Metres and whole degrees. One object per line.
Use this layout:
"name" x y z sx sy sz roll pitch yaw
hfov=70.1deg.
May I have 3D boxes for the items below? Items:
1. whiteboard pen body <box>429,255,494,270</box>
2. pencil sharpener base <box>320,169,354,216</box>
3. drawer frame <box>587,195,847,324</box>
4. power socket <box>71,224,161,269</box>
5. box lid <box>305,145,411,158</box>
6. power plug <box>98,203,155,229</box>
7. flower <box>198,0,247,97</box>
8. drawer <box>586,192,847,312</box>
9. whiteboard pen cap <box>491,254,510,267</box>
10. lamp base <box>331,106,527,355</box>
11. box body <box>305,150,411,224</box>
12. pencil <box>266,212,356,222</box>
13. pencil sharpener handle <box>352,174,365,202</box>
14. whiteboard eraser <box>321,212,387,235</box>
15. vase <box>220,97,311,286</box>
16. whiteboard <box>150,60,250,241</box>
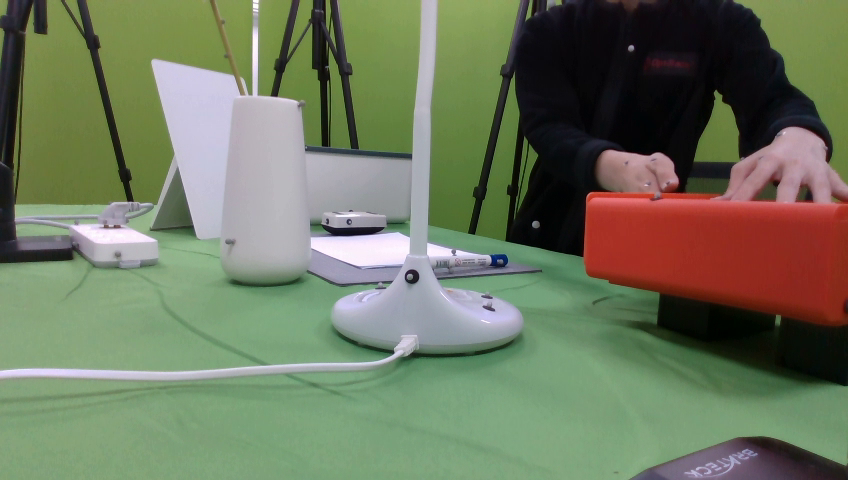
"whiteboard pen body" 0.053 0.028 0.777 0.141 0.017 0.017 -1 8 -39
"pencil sharpener base" -0.207 -0.113 1.438 0.077 0.107 0.061 2 6 -11
"drawer frame" 0.285 0.004 0.509 0.203 0.082 0.212 -1 6 -30
"power socket" -0.408 0.004 0.793 0.072 0.032 0.225 -2 8 -38
"box lid" -0.228 -0.200 1.361 0.373 0.015 0.262 -1 8 -33
"power plug" -0.416 -0.026 0.848 0.073 0.052 0.035 1 8 -28
"flower" -0.187 -0.133 0.648 0.038 0.362 0.044 -1 21 42
"drawer" 0.282 0.001 0.513 0.195 0.073 0.210 -1 8 -29
"whiteboard pen cap" 0.099 0.028 0.815 0.033 0.018 0.018 -1 8 -39
"lamp base" 0.006 -0.012 0.478 0.161 0.180 0.179 2 10 2
"box body" -0.230 -0.126 1.371 0.366 0.160 0.253 -2 8 -33
"pencil" -0.244 -0.049 1.319 0.195 0.012 0.012 4 7 -12
"pencil sharpener handle" -0.156 -0.125 1.450 0.031 0.068 0.036 2 19 -11
"whiteboard eraser" -0.128 -0.031 1.108 0.113 0.042 0.055 -3 7 -38
"vase" -0.172 -0.052 0.662 0.098 0.200 0.098 3 8 0
"whiteboard" -0.408 -0.139 1.093 0.143 0.305 0.218 -15 -1 26
